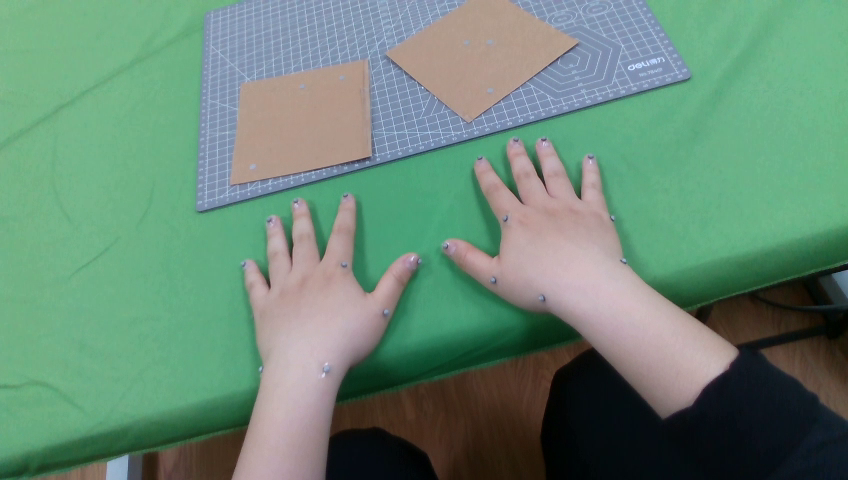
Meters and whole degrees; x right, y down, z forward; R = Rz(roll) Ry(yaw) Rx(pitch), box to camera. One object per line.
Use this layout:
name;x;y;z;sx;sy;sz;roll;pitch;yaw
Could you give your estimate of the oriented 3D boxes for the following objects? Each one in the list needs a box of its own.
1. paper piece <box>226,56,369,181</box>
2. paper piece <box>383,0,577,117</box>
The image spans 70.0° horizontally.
paper piece;-0.119;-0.120;0.578;0.138;0.009;0.134;-10;53;7
paper piece;0.050;-0.188;0.584;0.135;0.004;0.134;-36;58;-12
